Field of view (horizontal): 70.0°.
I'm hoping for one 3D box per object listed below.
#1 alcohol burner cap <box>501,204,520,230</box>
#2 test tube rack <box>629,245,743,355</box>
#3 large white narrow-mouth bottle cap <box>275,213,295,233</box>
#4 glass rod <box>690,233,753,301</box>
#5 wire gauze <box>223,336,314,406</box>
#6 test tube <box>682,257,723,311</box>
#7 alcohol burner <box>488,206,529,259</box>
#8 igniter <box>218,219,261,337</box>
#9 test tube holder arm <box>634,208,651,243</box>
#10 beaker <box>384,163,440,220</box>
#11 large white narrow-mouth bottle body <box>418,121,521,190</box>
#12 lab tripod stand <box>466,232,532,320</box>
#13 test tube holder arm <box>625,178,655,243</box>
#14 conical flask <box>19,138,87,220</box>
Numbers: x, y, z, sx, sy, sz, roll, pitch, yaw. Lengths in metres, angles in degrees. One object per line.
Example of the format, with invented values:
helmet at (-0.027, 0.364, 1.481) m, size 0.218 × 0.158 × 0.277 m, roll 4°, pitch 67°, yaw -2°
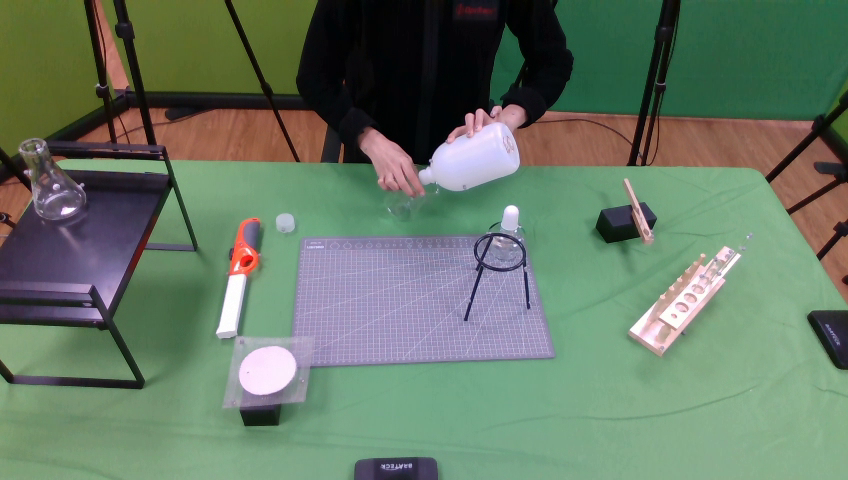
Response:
alcohol burner cap at (0.164, -0.046, 1.133) m, size 0.034 × 0.048 × 0.033 m, roll 2°, pitch 40°, yaw -2°
test tube rack at (0.474, 0.095, 1.091) m, size 0.242 × 0.085 × 0.066 m, roll -34°, pitch 56°, yaw -31°
large white narrow-mouth bottle cap at (-0.277, -0.034, 1.213) m, size 0.038 × 0.024 × 0.037 m, roll 3°, pitch 46°, yaw -3°
glass rod at (0.507, 0.053, 1.041) m, size 0.008 × 0.200 × 0.008 m, roll 5°, pitch 51°, yaw -6°
wire gauze at (-0.237, 0.197, 0.931) m, size 0.121 × 0.011 × 0.124 m, roll 1°, pitch 45°, yaw -4°
test tube at (0.474, 0.080, 1.037) m, size 0.017 × 0.151 × 0.017 m, roll 1°, pitch 51°, yaw -1°
alcohol burner at (0.163, -0.020, 1.158) m, size 0.078 × 0.120 × 0.077 m, roll 0°, pitch 47°, yaw 0°
igniter at (-0.336, 0.060, 1.111) m, size 0.057 × 0.025 × 0.274 m, roll -8°, pitch 46°, yaw 3°
test tube holder arm at (0.428, -0.030, 1.189) m, size 0.010 × 0.015 × 0.087 m, roll 1°, pitch 47°, yaw -2°
beaker at (-0.026, -0.093, 1.222) m, size 0.084 × 0.100 × 0.073 m, roll 35°, pitch 40°, yaw -13°
large white narrow-mouth bottle body at (0.079, -0.150, 1.156) m, size 0.194 × 0.102 × 0.101 m, roll -17°, pitch 40°, yaw 25°
lab tripod stand at (0.125, 0.059, 1.065) m, size 0.148 × 0.132 × 0.147 m, roll 1°, pitch 45°, yaw 0°
test tube holder arm at (0.433, -0.062, 1.220) m, size 0.013 × 0.015 × 0.177 m, roll 1°, pitch 47°, yaw -3°
conical flask at (-0.576, -0.097, 0.930) m, size 0.075 × 0.122 × 0.075 m, roll 2°, pitch 46°, yaw -2°
